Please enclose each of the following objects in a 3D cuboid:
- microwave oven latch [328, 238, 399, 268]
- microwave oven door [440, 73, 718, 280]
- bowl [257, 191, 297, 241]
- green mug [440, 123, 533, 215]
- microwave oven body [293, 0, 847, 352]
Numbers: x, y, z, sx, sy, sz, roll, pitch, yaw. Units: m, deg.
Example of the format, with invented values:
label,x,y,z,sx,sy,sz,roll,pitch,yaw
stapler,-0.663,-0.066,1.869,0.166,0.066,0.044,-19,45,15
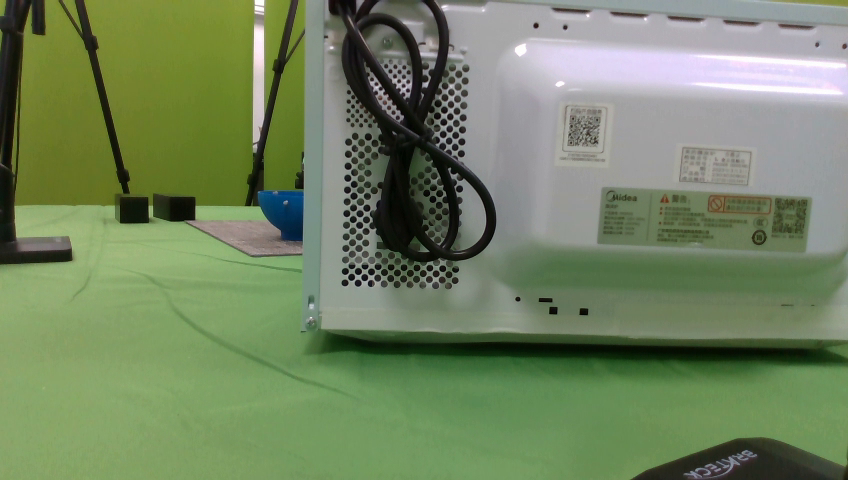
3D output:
label,x,y,z,sx,sy,sz,roll,pitch,yaw
microwave oven latch,-0.069,0.015,0.694,0.079,0.029,0.030,3,7,-3
microwave oven door,0.184,-0.090,0.802,0.354,0.243,0.039,7,8,33
bowl,-0.206,-0.041,1.027,0.151,0.077,0.151,3,8,0
green mug,0.072,-0.084,0.737,0.125,0.105,0.093,5,6,37
microwave oven body,0.122,-0.055,0.550,0.442,0.260,0.325,3,7,-5
